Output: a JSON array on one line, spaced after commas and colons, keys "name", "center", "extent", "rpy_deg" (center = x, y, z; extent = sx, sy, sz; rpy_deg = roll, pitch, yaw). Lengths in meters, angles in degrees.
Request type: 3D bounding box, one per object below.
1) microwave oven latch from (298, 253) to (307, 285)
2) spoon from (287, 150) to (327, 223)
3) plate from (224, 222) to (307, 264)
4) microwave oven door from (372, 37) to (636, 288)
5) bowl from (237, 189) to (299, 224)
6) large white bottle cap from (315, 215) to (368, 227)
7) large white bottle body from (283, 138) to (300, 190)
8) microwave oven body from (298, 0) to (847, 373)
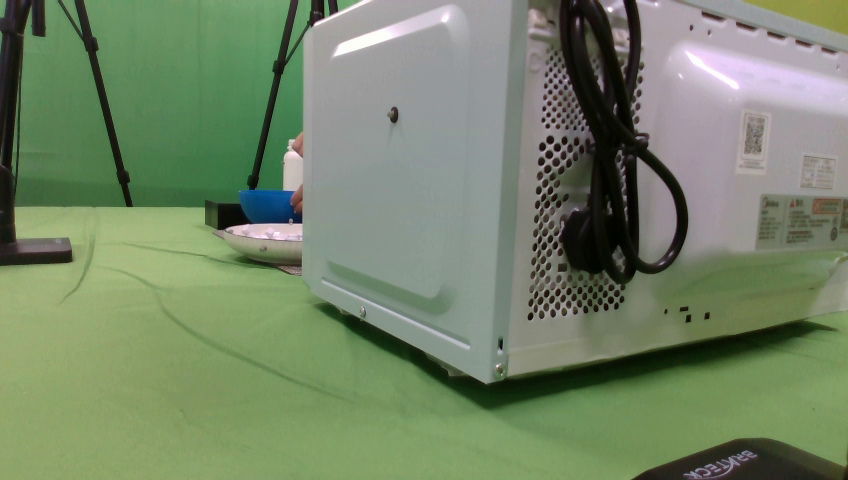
[{"name": "microwave oven latch", "center": [-0.081, 0.027, 0.582], "extent": [0.079, 0.029, 0.030], "rpy_deg": [-1, 7, -32]}, {"name": "spoon", "center": [-0.207, -0.102, 1.092], "extent": [0.021, 0.042, 0.193], "rpy_deg": [5, 45, 17]}, {"name": "plate", "center": [-0.171, 0.004, 0.849], "extent": [0.209, 0.038, 0.209], "rpy_deg": [2, 7, 0]}, {"name": "microwave oven door", "center": [0.110, -0.080, 0.686], "extent": [0.358, 0.243, 0.039], "rpy_deg": [-2, 9, -33]}, {"name": "bowl", "center": [-0.246, -0.046, 1.054], "extent": [0.151, 0.077, 0.151], "rpy_deg": [3, 8, 0]}, {"name": "large white bottle cap", "center": [-0.178, -0.041, 1.309], "extent": [0.115, 0.018, 0.115], "rpy_deg": [2, 6, 0]}, {"name": "large white bottle body", "center": [-0.265, -0.144, 1.423], "extent": [0.131, 0.184, 0.130], "rpy_deg": [2, 7, 0]}, {"name": "microwave oven body", "center": [0.151, -0.055, 0.542], "extent": [0.444, 0.260, 0.324], "rpy_deg": [-2, 7, -33]}]
